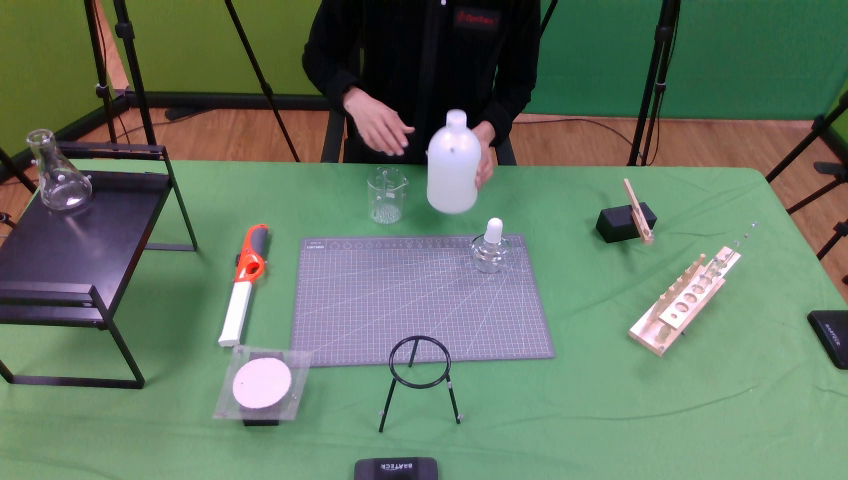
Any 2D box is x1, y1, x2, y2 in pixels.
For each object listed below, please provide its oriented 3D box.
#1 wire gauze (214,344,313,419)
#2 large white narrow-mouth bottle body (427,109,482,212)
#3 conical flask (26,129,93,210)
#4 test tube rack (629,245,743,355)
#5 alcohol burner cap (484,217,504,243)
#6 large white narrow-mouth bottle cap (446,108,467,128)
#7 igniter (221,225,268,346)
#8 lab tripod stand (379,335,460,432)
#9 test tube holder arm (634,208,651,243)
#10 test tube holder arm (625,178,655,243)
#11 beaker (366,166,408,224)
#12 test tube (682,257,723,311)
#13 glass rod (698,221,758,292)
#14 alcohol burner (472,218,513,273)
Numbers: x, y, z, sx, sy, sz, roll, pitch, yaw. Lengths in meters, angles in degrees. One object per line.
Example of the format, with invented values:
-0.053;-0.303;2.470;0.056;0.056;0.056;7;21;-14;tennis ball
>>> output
-0.241;0.213;0.916;0.121;0.011;0.124;5;46;1;wire gauze
0.057;-0.152;1.125;0.102;0.195;0.101;1;43;0;large white narrow-mouth bottle body
-0.575;-0.113;0.946;0.075;0.122;0.075;2;46;-2;conical flask
0.474;0.095;1.091;0.242;0.085;0.066;-34;56;-31;test tube rack
0.130;-0.022;1.107;0.034;0.048;0.033;4;41;-3;alcohol burner cap
0.058;-0.214;1.065;0.038;0.024;0.037;1;43;-1;large white narrow-mouth bottle cap
-0.323;0.072;1.100;0.057;0.025;0.274;-6;45;5;igniter
-0.011;0.214;0.911;0.148;0.132;0.147;1;45;0;lab tripod stand
0.428;-0.030;1.189;0.010;0.015;0.087;1;47;-2;test tube holder arm
0.433;-0.062;1.220;0.013;0.015;0.177;1;47;-3;test tube holder arm
-0.074;-0.088;1.222;0.084;0.101;0.073;4;46;-1;beaker
0.475;0.080;1.037;0.017;0.151;0.017;1;50;-1;test tube
0.527;0.035;1.060;0.008;0.200;0.008;5;49;-6;glass rod
0.128;0.005;1.132;0.078;0.120;0.077;0;47;0;alcohol burner
